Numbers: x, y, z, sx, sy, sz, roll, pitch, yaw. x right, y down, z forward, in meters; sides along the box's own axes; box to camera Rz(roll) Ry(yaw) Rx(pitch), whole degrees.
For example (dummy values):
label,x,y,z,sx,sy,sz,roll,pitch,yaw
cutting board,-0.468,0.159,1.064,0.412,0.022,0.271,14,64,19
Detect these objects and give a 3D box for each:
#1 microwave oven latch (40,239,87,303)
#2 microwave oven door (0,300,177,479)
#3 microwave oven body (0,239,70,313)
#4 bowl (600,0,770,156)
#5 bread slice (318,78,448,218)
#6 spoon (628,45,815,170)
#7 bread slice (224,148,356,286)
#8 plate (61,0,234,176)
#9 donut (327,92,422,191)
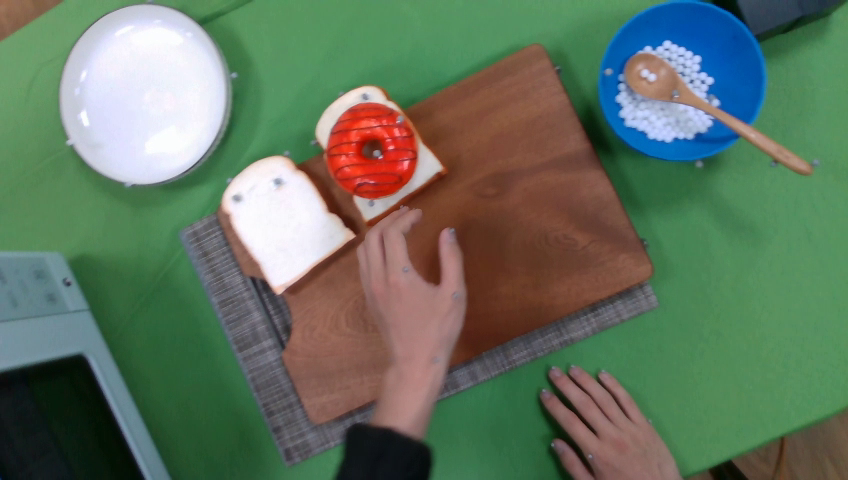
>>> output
label,x,y,z,sx,sy,sz,roll,pitch,yaw
microwave oven latch,-0.423,0.038,0.699,0.030,0.029,0.079,-26,87,7
microwave oven door,-0.342,0.233,0.587,0.039,0.244,0.355,-28,86,8
microwave oven body,-0.489,0.262,0.614,0.326,0.260,0.441,-27,87,7
bowl,0.246,-0.152,0.597,0.151,0.077,0.151,0,91,8
bread slice,-0.053,-0.104,0.642,0.105,0.019,0.131,-35,84,6
spoon,0.272,-0.122,0.562,0.192,0.022,0.041,43,101,24
bread slice,-0.153,-0.031,0.657,0.107,0.018,0.134,-39,84,6
plate,-0.314,-0.176,0.700,0.207,0.039,0.207,0,91,8
donut,-0.050,-0.099,0.613,0.099,0.048,0.099,0,90,8
